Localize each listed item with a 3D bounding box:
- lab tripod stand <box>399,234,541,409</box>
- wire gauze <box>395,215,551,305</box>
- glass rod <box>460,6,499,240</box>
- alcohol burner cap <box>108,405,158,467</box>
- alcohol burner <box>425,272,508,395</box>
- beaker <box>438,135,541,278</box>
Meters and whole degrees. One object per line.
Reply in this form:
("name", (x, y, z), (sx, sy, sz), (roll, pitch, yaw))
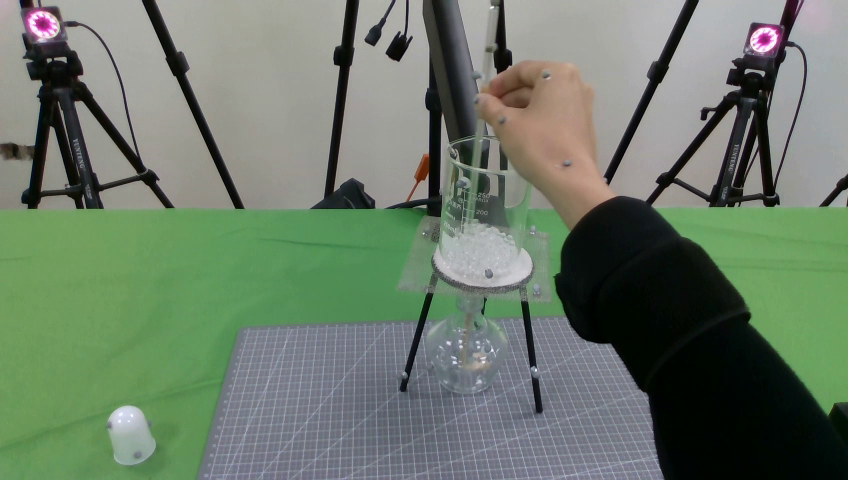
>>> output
("lab tripod stand", (0.051, 0.073, 0.552), (0.148, 0.132, 0.147), (3, 30, -2))
("wire gauze", (0.047, 0.016, 0.519), (0.121, 0.011, 0.124), (6, 33, 7))
("glass rod", (0.042, -0.081, 0.477), (0.008, 0.201, 0.008), (3, 37, -2))
("alcohol burner cap", (-0.237, 0.155, 0.489), (0.034, 0.048, 0.033), (1, 30, 0))
("alcohol burner", (0.039, 0.082, 0.556), (0.078, 0.120, 0.077), (1, 29, 0))
("beaker", (0.047, -0.027, 0.496), (0.083, 0.101, 0.074), (28, 38, 35))
